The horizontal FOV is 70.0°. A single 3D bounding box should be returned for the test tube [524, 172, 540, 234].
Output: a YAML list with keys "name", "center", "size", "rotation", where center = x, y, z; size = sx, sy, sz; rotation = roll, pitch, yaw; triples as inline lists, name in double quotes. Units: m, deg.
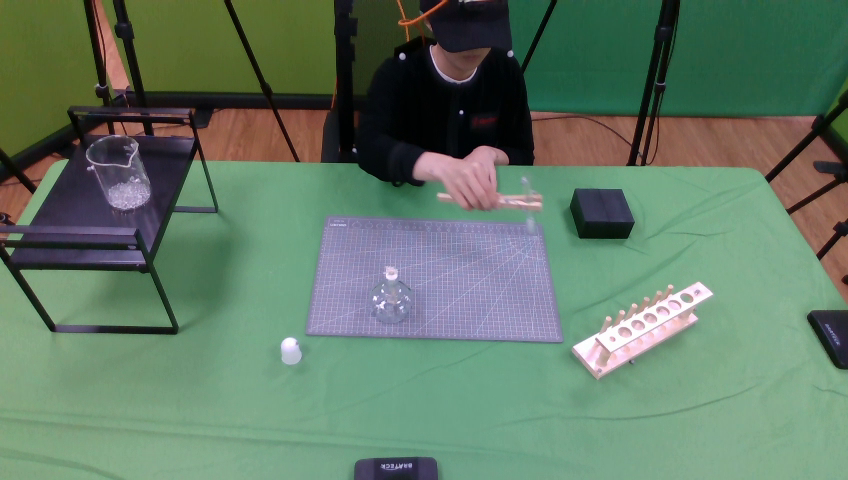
- name: "test tube"
  center: [0.180, -0.058, 1.004]
  size: [0.017, 0.151, 0.017]
  rotation: [-7, 53, 10]

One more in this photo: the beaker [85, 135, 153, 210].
- name: "beaker"
  center: [-0.475, -0.102, 0.957]
  size: [0.083, 0.101, 0.074]
  rotation: [34, 53, 26]

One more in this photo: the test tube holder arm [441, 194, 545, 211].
- name: "test tube holder arm"
  center: [0.113, -0.064, 1.017]
  size: [0.178, 0.015, 0.013]
  rotation: [5, 55, 18]

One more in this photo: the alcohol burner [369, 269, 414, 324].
- name: "alcohol burner"
  center: [-0.056, 0.089, 1.037]
  size: [0.078, 0.120, 0.077]
  rotation: [1, 48, -1]

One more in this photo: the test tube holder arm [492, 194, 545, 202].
- name: "test tube holder arm"
  center: [0.157, -0.067, 1.007]
  size: [0.088, 0.015, 0.010]
  rotation: [-2, 54, 14]

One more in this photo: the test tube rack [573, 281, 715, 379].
- name: "test tube rack"
  center: [0.378, 0.140, 1.038]
  size: [0.242, 0.085, 0.066]
  rotation: [-22, 51, -23]

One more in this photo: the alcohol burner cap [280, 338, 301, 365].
- name: "alcohol burner cap"
  center: [-0.220, 0.179, 0.993]
  size: [0.034, 0.048, 0.033]
  rotation: [2, 46, -2]
